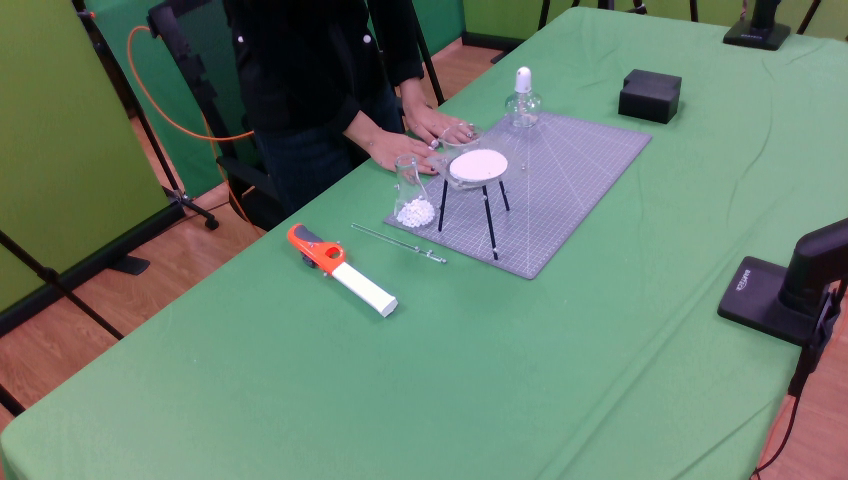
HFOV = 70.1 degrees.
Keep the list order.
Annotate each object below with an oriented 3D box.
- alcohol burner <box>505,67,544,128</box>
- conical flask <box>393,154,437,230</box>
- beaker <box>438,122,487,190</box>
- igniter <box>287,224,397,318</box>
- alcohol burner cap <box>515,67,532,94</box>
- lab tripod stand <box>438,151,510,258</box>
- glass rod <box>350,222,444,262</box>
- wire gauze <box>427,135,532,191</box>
[{"bbox_3d":[0.201,-0.288,1.211,0.078,0.119,0.077,-6,38,5],"label":"alcohol burner"},{"bbox_3d":[-0.022,-0.082,1.003,0.075,0.122,0.075,-6,40,5],"label":"conical flask"},{"bbox_3d":[0.072,-0.147,1.080,0.084,0.101,0.073,-5,40,7],"label":"beaker"},{"bbox_3d":[-0.139,0.042,0.958,0.057,0.025,0.274,-42,49,-19],"label":"igniter"},{"bbox_3d":[0.197,-0.315,1.187,0.034,0.048,0.033,-3,46,4],"label":"alcohol burner cap"},{"bbox_3d":[0.087,-0.064,0.952,0.148,0.132,0.147,-6,38,5],"label":"lab tripod stand"},{"bbox_3d":[-0.048,0.001,1.003,0.198,0.008,0.008,21,49,31],"label":"glass rod"},{"bbox_3d":[0.081,-0.115,0.909,0.125,0.011,0.120,-18,39,-11],"label":"wire gauze"}]
